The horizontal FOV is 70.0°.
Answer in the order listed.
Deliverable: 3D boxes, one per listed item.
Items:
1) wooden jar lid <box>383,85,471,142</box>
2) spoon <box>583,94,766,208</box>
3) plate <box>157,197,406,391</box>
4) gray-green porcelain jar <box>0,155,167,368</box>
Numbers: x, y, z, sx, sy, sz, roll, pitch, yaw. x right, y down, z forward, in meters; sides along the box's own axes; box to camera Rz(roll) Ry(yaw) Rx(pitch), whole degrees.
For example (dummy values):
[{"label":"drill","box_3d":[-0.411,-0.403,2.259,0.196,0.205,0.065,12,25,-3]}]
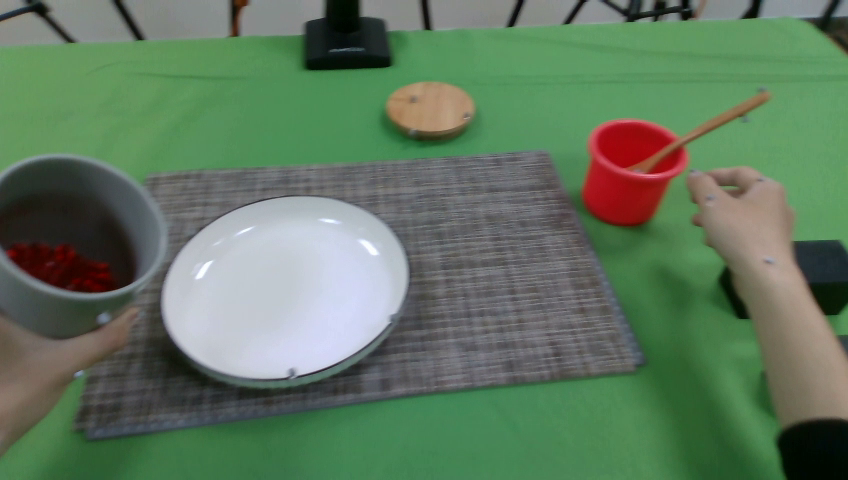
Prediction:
[{"label":"wooden jar lid","box_3d":[0.004,-0.156,0.751,0.108,0.021,0.107,2,47,-2]},{"label":"spoon","box_3d":[0.249,-0.088,0.612,0.194,0.022,0.041,-35,41,26]},{"label":"plate","box_3d":[-0.120,0.045,0.533,0.208,0.039,0.205,2,46,-2]},{"label":"gray-green porcelain jar","box_3d":[-0.251,0.021,0.411,0.107,0.126,0.105,28,42,-29]}]
